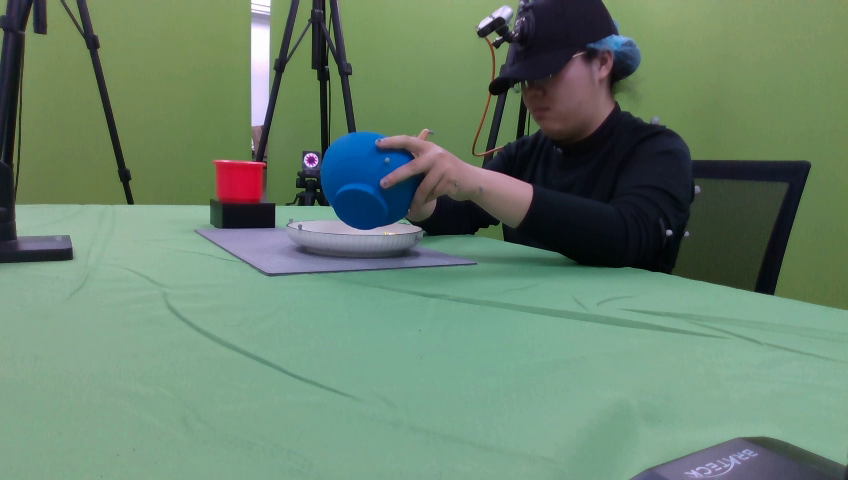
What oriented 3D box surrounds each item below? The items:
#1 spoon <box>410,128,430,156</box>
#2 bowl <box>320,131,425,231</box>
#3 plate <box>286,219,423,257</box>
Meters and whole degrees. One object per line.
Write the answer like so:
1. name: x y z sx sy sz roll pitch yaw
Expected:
1. spoon: -0.033 -0.111 0.891 0.041 0.022 0.194 6 40 26
2. bowl: -0.080 -0.065 0.831 0.151 0.151 0.077 4 42 13
3. plate: -0.105 -0.003 0.922 0.208 0.039 0.207 3 7 0
